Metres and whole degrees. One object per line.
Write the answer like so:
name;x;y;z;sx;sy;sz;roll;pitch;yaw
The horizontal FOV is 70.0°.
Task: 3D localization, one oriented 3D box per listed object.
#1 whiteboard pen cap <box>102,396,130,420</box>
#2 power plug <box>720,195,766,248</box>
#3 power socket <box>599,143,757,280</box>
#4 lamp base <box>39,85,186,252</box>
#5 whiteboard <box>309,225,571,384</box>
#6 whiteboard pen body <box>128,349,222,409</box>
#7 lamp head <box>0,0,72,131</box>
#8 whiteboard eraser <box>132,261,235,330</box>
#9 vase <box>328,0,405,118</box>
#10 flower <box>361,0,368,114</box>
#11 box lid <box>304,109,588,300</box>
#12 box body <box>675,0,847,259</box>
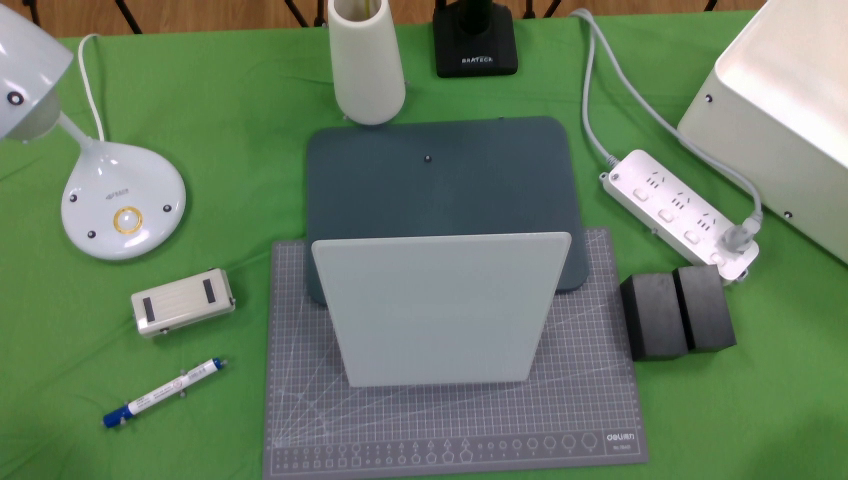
whiteboard pen cap;-0.360;0.197;0.716;0.033;0.018;0.018;-29;73;-8
power plug;0.410;-0.017;0.772;0.072;0.053;0.035;-31;72;-15
power socket;0.337;-0.040;0.804;0.072;0.033;0.225;-42;76;-14
lamp base;-0.404;-0.096;0.733;0.160;0.181;0.178;-33;71;-12
whiteboard;0.014;0.028;0.653;0.217;0.308;0.142;-1;55;0
whiteboard pen body;-0.309;0.171;0.725;0.141;0.017;0.017;-29;73;-10
lamp head;-0.358;-0.153;0.462;0.112;0.124;0.111;-27;38;24
whiteboard eraser;-0.297;0.068;0.750;0.113;0.042;0.055;-18;74;-7
vase;-0.074;-0.244;0.782;0.098;0.201;0.097;1;69;-1
flower;-0.069;-0.288;0.710;0.044;0.364;0.038;33;57;17
box lid;0.026;-0.054;0.815;0.372;0.015;0.261;-4;70;-2
box body;0.548;-0.152;0.778;0.362;0.161;0.254;40;75;12
